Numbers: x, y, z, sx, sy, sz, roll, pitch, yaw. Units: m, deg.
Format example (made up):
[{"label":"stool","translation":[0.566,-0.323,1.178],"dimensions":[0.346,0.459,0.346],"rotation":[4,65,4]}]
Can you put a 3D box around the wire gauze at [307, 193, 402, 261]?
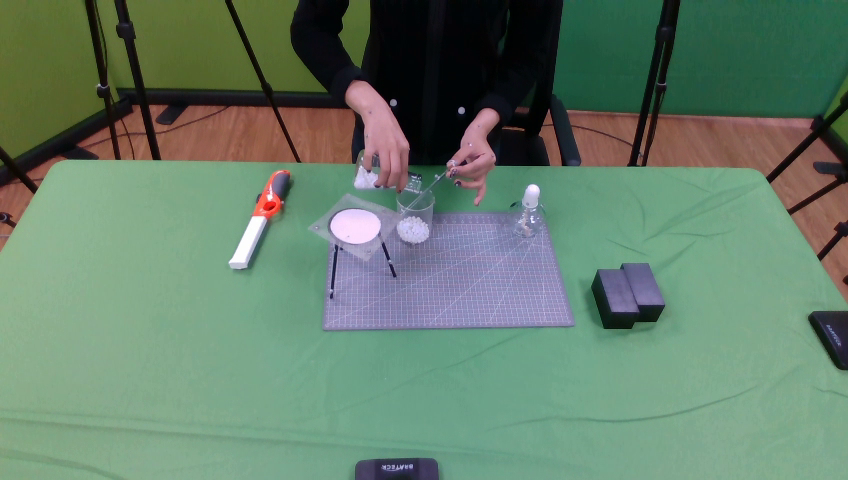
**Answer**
[{"label":"wire gauze","translation":[-0.119,-0.028,1.043],"dimensions":[0.125,0.011,0.121],"rotation":[24,47,17]}]

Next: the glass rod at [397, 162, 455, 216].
[{"label":"glass rod","translation":[0.000,-0.091,1.124],"dimensions":[0.008,0.200,0.008],"rotation":[17,56,-27]}]

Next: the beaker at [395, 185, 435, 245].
[{"label":"beaker","translation":[-0.022,-0.048,1.187],"dimensions":[0.074,0.101,0.083],"rotation":[-28,53,-28]}]

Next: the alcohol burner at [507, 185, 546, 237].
[{"label":"alcohol burner","translation":[0.208,-0.063,1.210],"dimensions":[0.078,0.119,0.077],"rotation":[3,44,-3]}]

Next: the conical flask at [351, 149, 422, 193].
[{"label":"conical flask","translation":[-0.067,-0.117,1.103],"dimensions":[0.122,0.075,0.075],"rotation":[13,45,-11]}]

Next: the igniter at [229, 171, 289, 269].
[{"label":"igniter","translation":[-0.328,-0.049,1.218],"dimensions":[0.057,0.025,0.275],"rotation":[1,45,11]}]

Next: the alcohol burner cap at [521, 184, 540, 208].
[{"label":"alcohol burner cap","translation":[0.210,-0.087,1.183],"dimensions":[0.034,0.048,0.033],"rotation":[1,52,-1]}]

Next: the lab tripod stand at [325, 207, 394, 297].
[{"label":"lab tripod stand","translation":[-0.124,0.017,1.092],"dimensions":[0.148,0.132,0.147],"rotation":[3,44,-3]}]
